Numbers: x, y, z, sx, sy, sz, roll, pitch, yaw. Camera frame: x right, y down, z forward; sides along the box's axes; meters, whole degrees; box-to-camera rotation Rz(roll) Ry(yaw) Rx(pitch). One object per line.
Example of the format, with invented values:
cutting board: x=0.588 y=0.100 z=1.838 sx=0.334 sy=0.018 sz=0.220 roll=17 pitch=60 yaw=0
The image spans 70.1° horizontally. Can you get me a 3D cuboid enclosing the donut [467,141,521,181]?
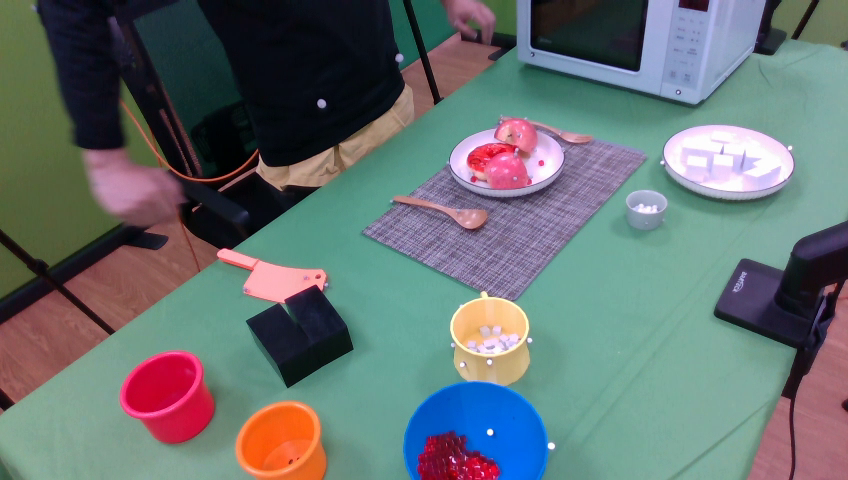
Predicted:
donut: x=0.126 y=-0.144 z=1.090 sx=0.099 sy=0.048 sz=0.098 roll=-6 pitch=38 yaw=5

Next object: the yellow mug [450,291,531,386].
yellow mug: x=0.085 y=0.120 z=0.786 sx=0.100 sy=0.064 sz=0.130 roll=-7 pitch=39 yaw=1

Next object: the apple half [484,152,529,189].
apple half: x=0.144 y=-0.116 z=1.032 sx=0.081 sy=0.033 sz=0.081 roll=3 pitch=77 yaw=-11

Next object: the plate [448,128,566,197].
plate: x=0.150 y=-0.138 z=1.096 sx=0.209 sy=0.038 sz=0.208 roll=-4 pitch=40 yaw=4

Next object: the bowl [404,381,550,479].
bowl: x=0.058 y=0.235 z=0.645 sx=0.151 sy=0.077 sz=0.150 roll=-4 pitch=39 yaw=4

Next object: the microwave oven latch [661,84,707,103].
microwave oven latch: x=0.517 y=-0.296 z=1.204 sx=0.078 sy=0.029 sz=0.030 roll=27 pitch=52 yaw=35

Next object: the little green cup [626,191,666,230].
little green cup: x=0.352 y=-0.046 z=0.963 sx=0.061 sy=0.039 sz=0.061 roll=-4 pitch=40 yaw=4

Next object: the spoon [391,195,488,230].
spoon: x=0.023 y=-0.054 z=1.029 sx=0.192 sy=0.022 sz=0.041 roll=18 pitch=70 yaw=27

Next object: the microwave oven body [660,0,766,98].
microwave oven body: x=0.472 y=-0.513 z=1.317 sx=0.438 sy=0.261 sz=0.327 roll=26 pitch=51 yaw=34

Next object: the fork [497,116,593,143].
fork: x=0.235 y=-0.220 z=1.195 sx=0.206 sy=0.019 sz=0.028 roll=23 pitch=55 yaw=28

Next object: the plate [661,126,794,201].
plate: x=0.513 y=-0.128 z=1.035 sx=0.207 sy=0.039 sz=0.206 roll=-4 pitch=40 yaw=4

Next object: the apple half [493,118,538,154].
apple half: x=0.175 y=-0.196 z=1.113 sx=0.080 sy=0.053 sz=0.075 roll=28 pitch=12 yaw=34

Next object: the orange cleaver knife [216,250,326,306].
orange cleaver knife: x=-0.248 y=0.058 z=0.945 sx=0.210 sy=0.012 sz=0.077 roll=12 pitch=49 yaw=20

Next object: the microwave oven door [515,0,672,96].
microwave oven door: x=0.343 y=-0.455 z=1.259 sx=0.353 sy=0.245 sz=0.039 roll=26 pitch=51 yaw=33
